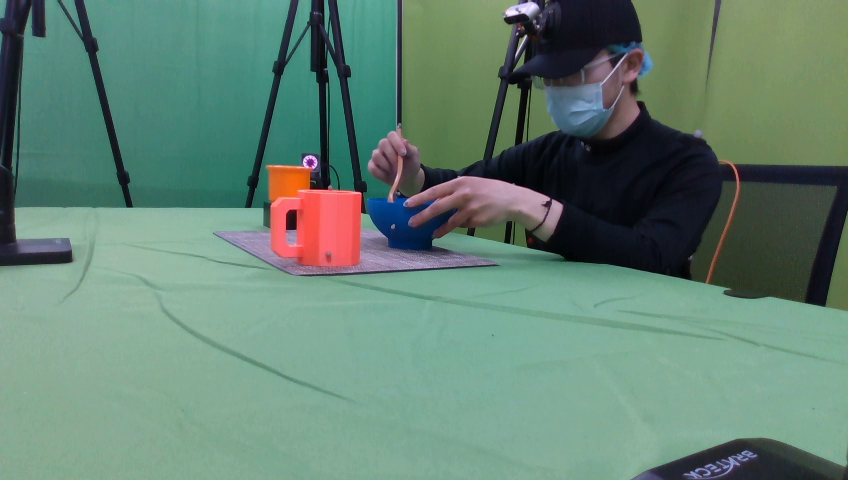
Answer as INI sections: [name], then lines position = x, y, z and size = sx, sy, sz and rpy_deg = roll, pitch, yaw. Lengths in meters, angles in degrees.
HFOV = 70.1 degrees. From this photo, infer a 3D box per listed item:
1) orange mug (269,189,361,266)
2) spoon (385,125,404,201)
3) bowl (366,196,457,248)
[orange mug]
position = -0.142, -0.019, 0.796
size = 0.127, 0.100, 0.083
rpy_deg = 2, 6, -39
[spoon]
position = -0.044, -0.117, 1.028
size = 0.021, 0.193, 0.042
rpy_deg = -6, -29, 26
[bowl]
position = -0.022, -0.030, 1.000
size = 0.151, 0.077, 0.151
rpy_deg = 2, 7, 0
